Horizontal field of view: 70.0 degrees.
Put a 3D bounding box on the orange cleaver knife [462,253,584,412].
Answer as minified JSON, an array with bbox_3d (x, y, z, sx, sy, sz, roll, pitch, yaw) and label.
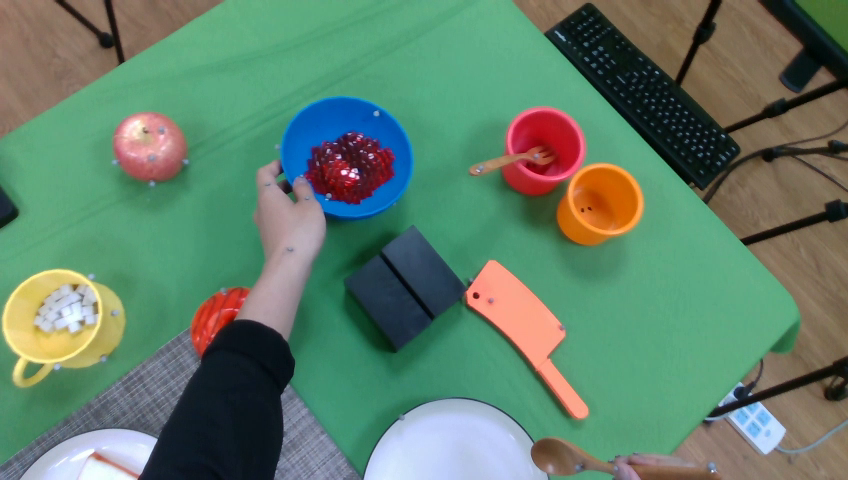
[{"bbox_3d":[0.129,0.108,0.729,0.077,0.012,0.210,-37,80,-20],"label":"orange cleaver knife"}]

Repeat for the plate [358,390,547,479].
[{"bbox_3d":[0.031,0.271,0.665,0.209,0.038,0.208,1,75,-5],"label":"plate"}]

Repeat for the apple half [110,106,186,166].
[{"bbox_3d":[-0.318,-0.126,0.716,0.081,0.075,0.053,16,68,3],"label":"apple half"}]

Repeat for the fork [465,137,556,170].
[{"bbox_3d":[0.106,-0.102,0.716,0.208,0.018,0.028,-20,74,-54],"label":"fork"}]

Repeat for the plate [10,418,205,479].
[{"bbox_3d":[-0.323,0.289,0.620,0.208,0.039,0.206,2,75,-5],"label":"plate"}]

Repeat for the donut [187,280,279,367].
[{"bbox_3d":[-0.213,0.093,0.680,0.099,0.048,0.098,2,76,-6],"label":"donut"}]

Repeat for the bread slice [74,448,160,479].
[{"bbox_3d":[-0.330,0.297,0.619,0.105,0.019,0.131,24,73,1],"label":"bread slice"}]

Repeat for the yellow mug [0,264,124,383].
[{"bbox_3d":[-0.397,0.095,0.653,0.100,0.064,0.130,27,75,1],"label":"yellow mug"}]

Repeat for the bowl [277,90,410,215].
[{"bbox_3d":[-0.097,-0.092,0.719,0.152,0.077,0.150,4,74,-12],"label":"bowl"}]

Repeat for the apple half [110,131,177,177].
[{"bbox_3d":[-0.328,-0.090,0.704,0.081,0.081,0.032,17,69,-1],"label":"apple half"}]

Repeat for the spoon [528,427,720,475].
[{"bbox_3d":[0.161,0.186,0.519,0.022,0.193,0.041,-25,94,-33],"label":"spoon"}]
